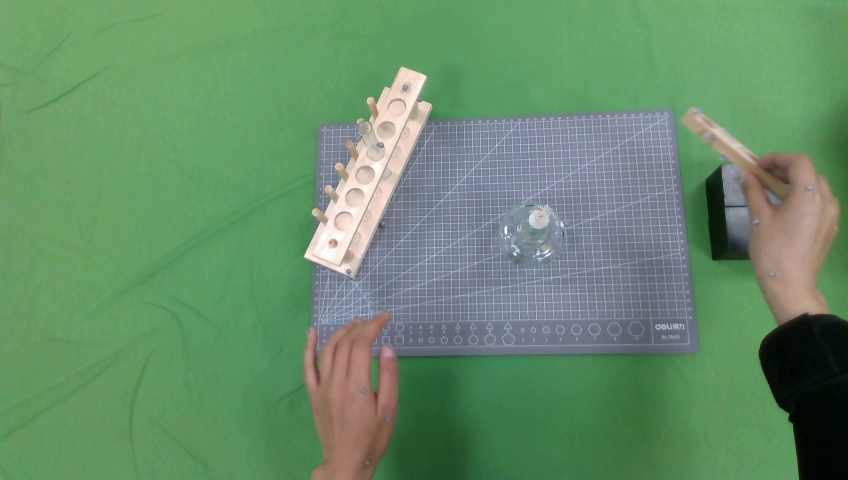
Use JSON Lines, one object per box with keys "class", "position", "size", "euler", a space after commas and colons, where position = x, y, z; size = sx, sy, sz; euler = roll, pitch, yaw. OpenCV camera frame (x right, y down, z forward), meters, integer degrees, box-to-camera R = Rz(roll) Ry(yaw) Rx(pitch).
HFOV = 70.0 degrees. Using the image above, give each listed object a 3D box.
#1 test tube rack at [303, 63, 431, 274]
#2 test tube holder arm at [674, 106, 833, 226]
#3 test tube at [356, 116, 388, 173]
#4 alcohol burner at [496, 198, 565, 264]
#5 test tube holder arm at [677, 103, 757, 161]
{"class": "test tube rack", "position": [-0.072, -0.088, 0.721], "size": [0.066, 0.085, 0.241], "euler": [22, 80, 10]}
{"class": "test tube holder arm", "position": [0.318, -0.070, 0.586], "size": [0.178, 0.015, 0.013], "euler": [38, 56, 2]}
{"class": "test tube", "position": [-0.055, -0.102, 0.672], "size": [0.017, 0.151, 0.017], "euler": [-1, 79, 4]}
{"class": "alcohol burner", "position": [0.120, -0.015, 0.676], "size": [0.078, 0.119, 0.077], "euler": [-1, 76, 3]}
{"class": "test tube holder arm", "position": [0.286, -0.102, 0.591], "size": [0.088, 0.015, 0.010], "euler": [38, 56, 2]}
